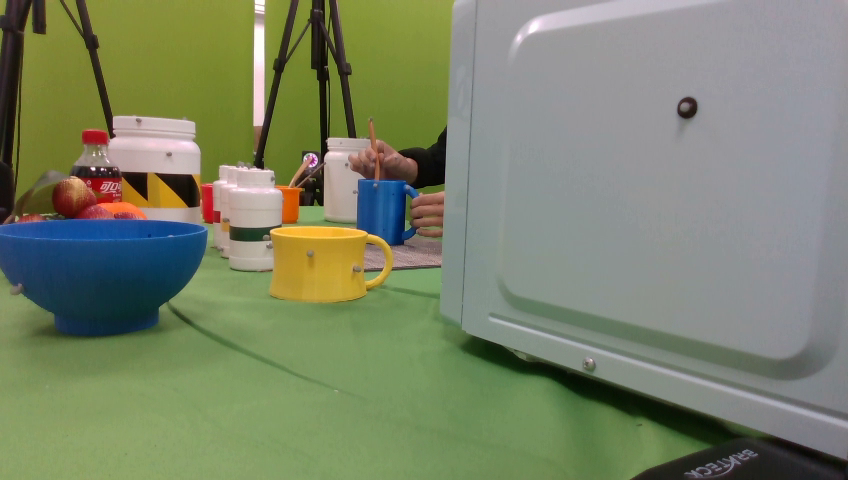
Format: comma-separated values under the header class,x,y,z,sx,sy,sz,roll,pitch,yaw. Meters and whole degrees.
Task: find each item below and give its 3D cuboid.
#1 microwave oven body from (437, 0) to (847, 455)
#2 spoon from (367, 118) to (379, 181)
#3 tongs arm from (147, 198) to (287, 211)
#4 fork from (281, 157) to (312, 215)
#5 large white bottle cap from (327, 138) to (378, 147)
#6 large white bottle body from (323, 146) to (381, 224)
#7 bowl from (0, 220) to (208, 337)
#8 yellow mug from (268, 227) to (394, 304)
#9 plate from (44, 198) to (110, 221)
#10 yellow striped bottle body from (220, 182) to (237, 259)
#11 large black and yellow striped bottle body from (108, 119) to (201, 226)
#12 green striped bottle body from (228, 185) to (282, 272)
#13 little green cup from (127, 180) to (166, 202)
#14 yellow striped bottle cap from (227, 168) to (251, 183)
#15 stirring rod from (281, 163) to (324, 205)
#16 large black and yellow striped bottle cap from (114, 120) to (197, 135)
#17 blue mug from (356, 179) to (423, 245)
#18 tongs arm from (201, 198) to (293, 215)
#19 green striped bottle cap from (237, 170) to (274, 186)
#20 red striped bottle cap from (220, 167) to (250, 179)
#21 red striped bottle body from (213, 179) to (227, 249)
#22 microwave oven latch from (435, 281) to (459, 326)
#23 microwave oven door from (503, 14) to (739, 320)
class,x,y,z,sx,sy,sz,roll,pitch,yaw
microwave oven body,0.279,-0.040,0.465,0.444,0.260,0.324,-3,9,-41
spoon,-0.083,-0.111,1.006,0.022,0.193,0.041,-1,-10,-4
tongs arm,-0.504,-0.091,1.513,0.028,0.028,0.389,-1,4,37
fork,-0.289,-0.116,1.321,0.028,0.019,0.207,6,51,19
large white bottle cap,-0.160,-0.218,1.357,0.115,0.018,0.115,2,8,0
large white bottle body,-0.163,-0.134,1.369,0.131,0.184,0.130,2,8,0
bowl,-0.251,0.029,0.479,0.151,0.077,0.151,2,7,0
yellow mug,-0.094,0.023,0.630,0.131,0.064,0.099,0,7,-22
plate,-0.617,-0.056,1.179,0.209,0.038,0.209,3,7,0
yellow striped bottle body,-0.246,-0.036,0.825,0.063,0.120,0.063,2,8,0
large black and yellow striped bottle body,-0.412,-0.088,0.930,0.131,0.184,0.130,3,7,0
green striped bottle body,-0.208,-0.023,0.745,0.063,0.119,0.063,2,7,0
little green cup,-0.485,-0.087,1.062,0.061,0.038,0.061,0,6,0
yellow striped bottle cap,-0.243,-0.087,0.818,0.044,0.018,0.044,3,6,0
stirring rod,-0.278,-0.105,1.293,0.176,0.006,0.014,-47,25,-18
large black and yellow striped bottle cap,-0.407,-0.171,0.920,0.115,0.019,0.115,2,9,0
blue mug,-0.057,-0.046,1.006,0.116,0.106,0.082,5,8,19
tongs arm,-0.423,-0.084,1.472,0.050,0.026,0.386,2,6,21
green striped bottle cap,-0.205,-0.075,0.737,0.044,0.020,0.044,1,6,0
red striped bottle cap,-0.281,-0.100,0.901,0.044,0.017,0.044,0,5,0
red striped bottle body,-0.284,-0.048,0.909,0.063,0.119,0.063,3,10,0
microwave oven latch,0.044,0.046,0.470,0.079,0.029,0.030,-3,8,-39
microwave oven door,0.218,-0.065,0.600,0.358,0.243,0.039,-4,10,-41
